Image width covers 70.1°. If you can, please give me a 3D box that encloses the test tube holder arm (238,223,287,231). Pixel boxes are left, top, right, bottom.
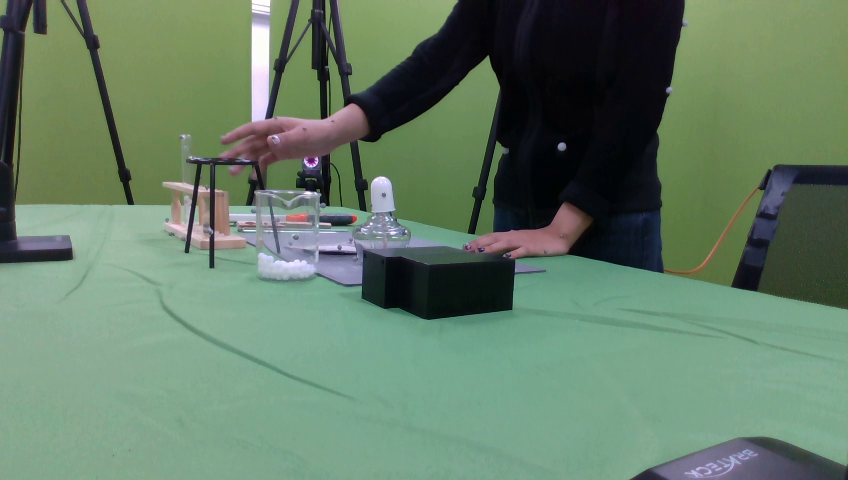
[{"bbox_3d":[-0.297,-0.024,1.113,0.088,0.015,0.010,-2,44,-33],"label":"test tube holder arm"}]

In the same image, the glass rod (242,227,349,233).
[{"bbox_3d":[-0.232,-0.017,1.110,0.201,0.008,0.008,1,7,-30],"label":"glass rod"}]

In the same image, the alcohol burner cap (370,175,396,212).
[{"bbox_3d":[-0.055,-0.059,0.778,0.034,0.048,0.034,-7,10,2],"label":"alcohol burner cap"}]

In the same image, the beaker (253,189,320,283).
[{"bbox_3d":[-0.156,-0.005,0.689,0.074,0.100,0.083,0,8,-13],"label":"beaker"}]

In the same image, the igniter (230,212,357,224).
[{"bbox_3d":[-0.271,-0.044,1.232,0.278,0.025,0.057,-2,-2,-27],"label":"igniter"}]

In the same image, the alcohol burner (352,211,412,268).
[{"bbox_3d":[-0.055,-0.024,0.784,0.078,0.119,0.078,1,9,0],"label":"alcohol burner"}]

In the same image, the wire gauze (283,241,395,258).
[{"bbox_3d":[-0.127,0.013,0.894,0.126,0.011,0.121,1,6,-35],"label":"wire gauze"}]

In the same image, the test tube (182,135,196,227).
[{"bbox_3d":[-0.382,-0.095,0.983,0.017,0.150,0.017,-1,2,0],"label":"test tube"}]

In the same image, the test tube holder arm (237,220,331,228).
[{"bbox_3d":[-0.261,-0.029,1.141,0.179,0.015,0.013,-3,44,-33],"label":"test tube holder arm"}]

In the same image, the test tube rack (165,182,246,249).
[{"bbox_3d":[-0.360,-0.044,0.982,0.067,0.085,0.241,-3,9,-34],"label":"test tube rack"}]

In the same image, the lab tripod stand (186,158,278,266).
[{"bbox_3d":[-0.262,-0.041,0.796,0.148,0.131,0.148,3,9,0],"label":"lab tripod stand"}]
